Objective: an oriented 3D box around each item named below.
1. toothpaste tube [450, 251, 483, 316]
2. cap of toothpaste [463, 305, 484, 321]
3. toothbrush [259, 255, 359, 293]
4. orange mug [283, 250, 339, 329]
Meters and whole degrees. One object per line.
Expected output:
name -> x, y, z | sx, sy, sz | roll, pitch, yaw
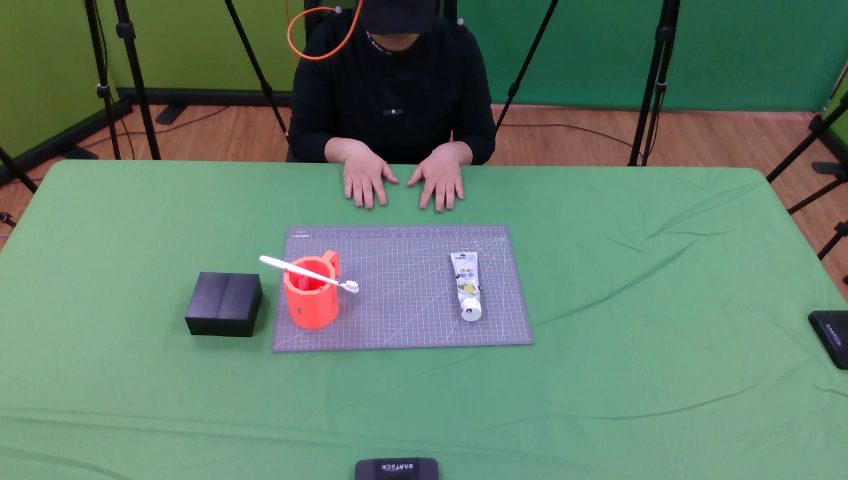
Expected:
toothpaste tube -> 0.084, 0.077, 1.122 | 0.055, 0.035, 0.164 | 2, 42, -8
cap of toothpaste -> 0.087, 0.127, 1.064 | 0.037, 0.037, 0.011 | 2, 40, -2
toothbrush -> -0.192, 0.054, 1.002 | 0.181, 0.017, 0.014 | 17, 53, 12
orange mug -> -0.186, 0.078, 1.052 | 0.083, 0.101, 0.126 | 20, 52, 15
